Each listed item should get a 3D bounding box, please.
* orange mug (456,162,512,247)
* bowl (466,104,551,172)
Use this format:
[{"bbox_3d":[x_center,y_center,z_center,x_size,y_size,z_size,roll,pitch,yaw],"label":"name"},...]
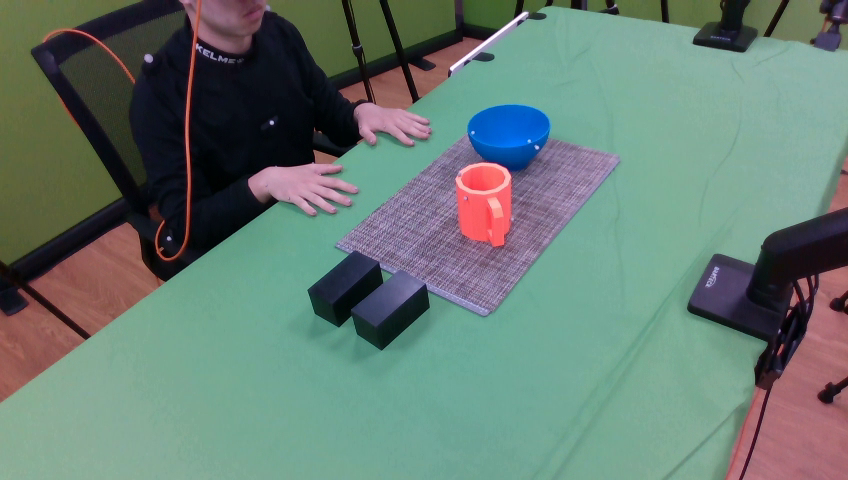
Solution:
[{"bbox_3d":[0.100,-0.050,0.949,0.083,0.101,0.125,-13,37,-6],"label":"orange mug"},{"bbox_3d":[0.155,-0.177,1.105,0.151,0.077,0.150,-4,40,4],"label":"bowl"}]
